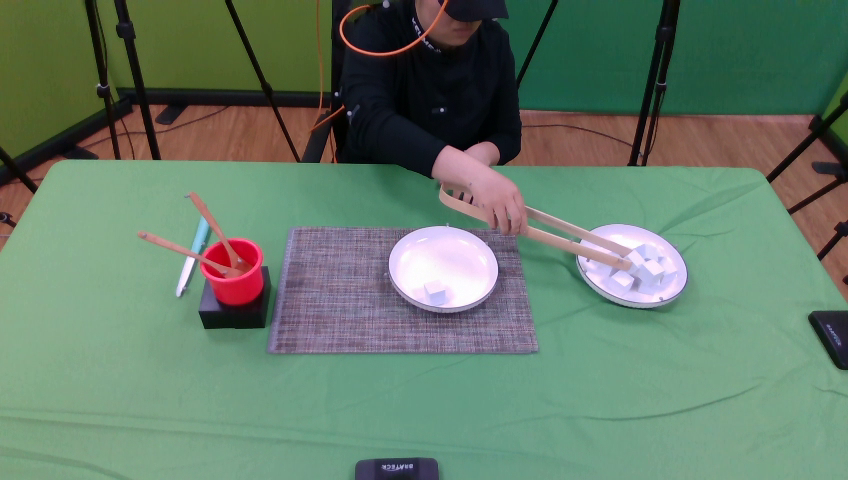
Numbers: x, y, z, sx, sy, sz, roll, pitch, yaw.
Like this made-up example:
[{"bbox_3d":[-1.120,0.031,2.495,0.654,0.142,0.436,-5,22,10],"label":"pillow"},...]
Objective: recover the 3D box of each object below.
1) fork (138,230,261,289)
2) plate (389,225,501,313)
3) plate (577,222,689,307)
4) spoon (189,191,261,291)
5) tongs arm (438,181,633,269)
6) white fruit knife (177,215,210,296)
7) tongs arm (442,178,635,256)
[{"bbox_3d":[-0.359,0.032,0.981,0.208,0.018,0.028,31,60,-30],"label":"fork"},{"bbox_3d":[0.038,0.057,1.129,0.208,0.039,0.206,2,46,-2],"label":"plate"},{"bbox_3d":[0.396,0.050,1.165,0.209,0.038,0.208,2,47,-2],"label":"plate"},{"bbox_3d":[-0.333,0.001,1.012,0.041,0.194,0.021,-35,15,-25],"label":"spoon"},{"bbox_3d":[0.206,-0.029,1.148,0.384,0.026,0.050,19,47,5],"label":"tongs arm"},{"bbox_3d":[-0.435,0.025,1.148,0.027,0.016,0.206,-17,45,18],"label":"white fruit knife"},{"bbox_3d":[0.215,-0.045,1.165,0.387,0.028,0.028,21,51,7],"label":"tongs arm"}]
